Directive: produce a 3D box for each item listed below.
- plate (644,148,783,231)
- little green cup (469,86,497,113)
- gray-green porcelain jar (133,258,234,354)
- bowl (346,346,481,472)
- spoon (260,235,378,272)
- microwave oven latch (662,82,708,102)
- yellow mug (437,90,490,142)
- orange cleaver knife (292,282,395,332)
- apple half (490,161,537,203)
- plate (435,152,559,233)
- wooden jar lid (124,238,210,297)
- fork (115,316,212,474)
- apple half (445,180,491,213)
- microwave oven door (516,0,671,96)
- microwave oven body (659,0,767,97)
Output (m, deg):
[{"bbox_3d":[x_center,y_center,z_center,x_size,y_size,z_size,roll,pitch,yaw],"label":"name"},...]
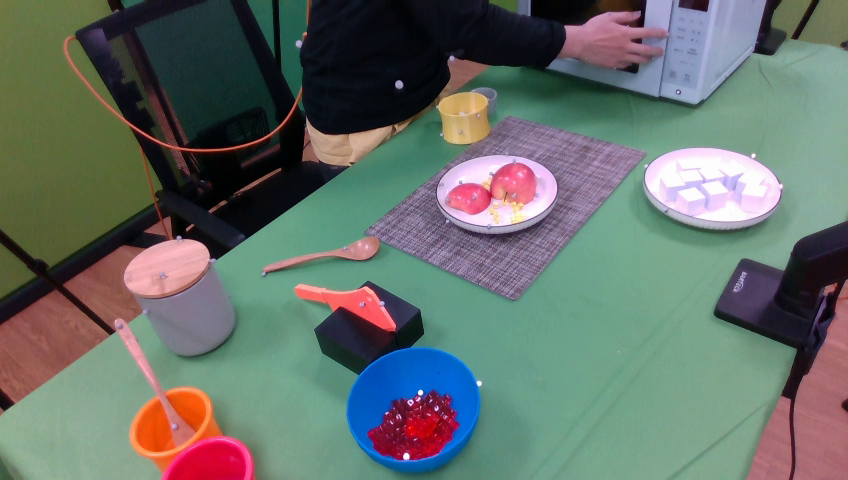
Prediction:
[{"bbox_3d":[0.465,-0.080,0.986,0.207,0.039,0.206,-4,41,4],"label":"plate"},{"bbox_3d":[0.124,-0.298,1.285,0.061,0.039,0.061,-3,39,3],"label":"little green cup"},{"bbox_3d":[-0.328,0.087,0.837,0.106,0.127,0.105,-4,41,4],"label":"gray-green porcelain jar"},{"bbox_3d":[-0.008,0.205,0.691,0.151,0.077,0.150,-4,40,4],"label":"bowl"},{"bbox_3d":[-0.167,0.024,0.967,0.194,0.022,0.041,-10,57,-3],"label":"spoon"},{"bbox_3d":[0.518,-0.298,1.202,0.078,0.029,0.030,28,53,35],"label":"microwave oven latch"},{"bbox_3d":[0.070,-0.257,1.224,0.100,0.064,0.129,-33,43,-25],"label":"yellow mug"},{"bbox_3d":[-0.116,0.091,0.835,0.209,0.077,0.012,2,32,48],"label":"orange cleaver knife"},{"bbox_3d":[0.154,-0.106,1.030,0.080,0.053,0.075,22,46,31],"label":"apple half"},{"bbox_3d":[0.124,-0.078,1.026,0.209,0.038,0.208,-4,40,4],"label":"plate"},{"bbox_3d":[-0.335,0.038,0.795,0.108,0.021,0.108,-2,40,2],"label":"wooden jar lid"},{"bbox_3d":[-0.308,0.179,0.708,0.028,0.018,0.207,-30,89,-24],"label":"fork"},{"bbox_3d":[0.077,-0.084,1.029,0.081,0.033,0.081,-2,42,2],"label":"apple half"},{"bbox_3d":[0.342,-0.456,1.254,0.353,0.245,0.039,28,52,34],"label":"microwave oven door"},{"bbox_3d":[0.474,-0.516,1.313,0.438,0.261,0.327,26,51,34],"label":"microwave oven body"}]
